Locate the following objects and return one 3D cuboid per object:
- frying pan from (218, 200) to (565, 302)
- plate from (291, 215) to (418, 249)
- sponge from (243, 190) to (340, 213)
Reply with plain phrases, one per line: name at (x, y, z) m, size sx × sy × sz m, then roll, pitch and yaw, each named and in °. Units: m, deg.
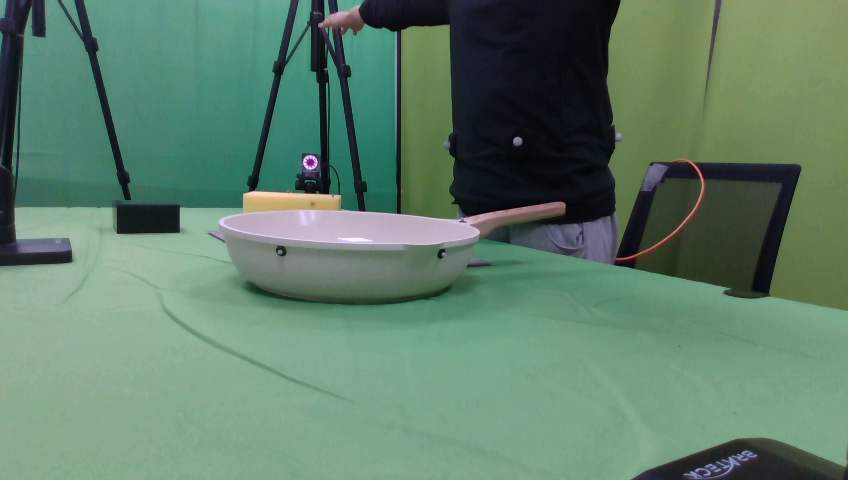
frying pan at (0.003, -0.010, 0.754) m, size 0.490 × 0.102 × 0.305 m, roll -12°, pitch 16°, yaw -32°
plate at (-0.115, -0.013, 1.002) m, size 0.208 × 0.039 × 0.207 m, roll 2°, pitch 7°, yaw 0°
sponge at (-0.298, -0.077, 1.388) m, size 0.207 × 0.061 × 0.118 m, roll 2°, pitch 8°, yaw -8°
